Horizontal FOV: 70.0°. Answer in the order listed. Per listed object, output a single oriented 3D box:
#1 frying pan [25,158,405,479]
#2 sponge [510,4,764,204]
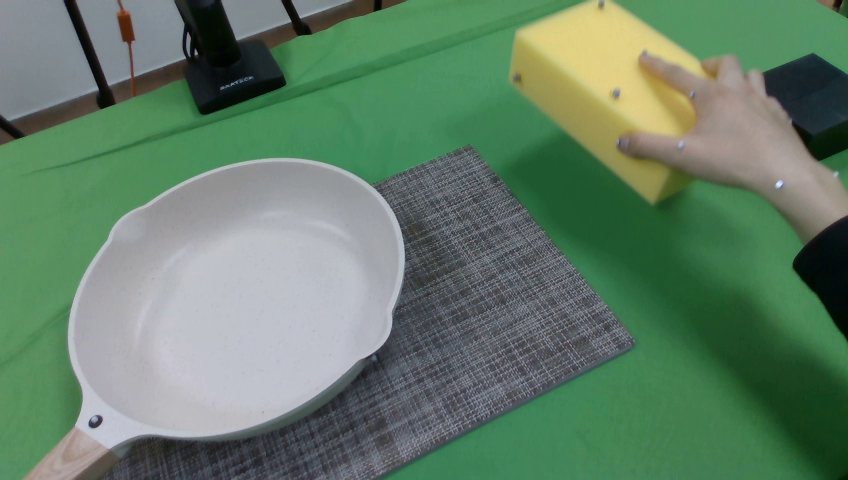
[{"bbox_3d":[-0.211,0.110,0.487,0.305,0.104,0.486,21,48,24],"label":"frying pan"},{"bbox_3d":[0.195,-0.139,0.587,0.118,0.061,0.205,-29,58,-20],"label":"sponge"}]
